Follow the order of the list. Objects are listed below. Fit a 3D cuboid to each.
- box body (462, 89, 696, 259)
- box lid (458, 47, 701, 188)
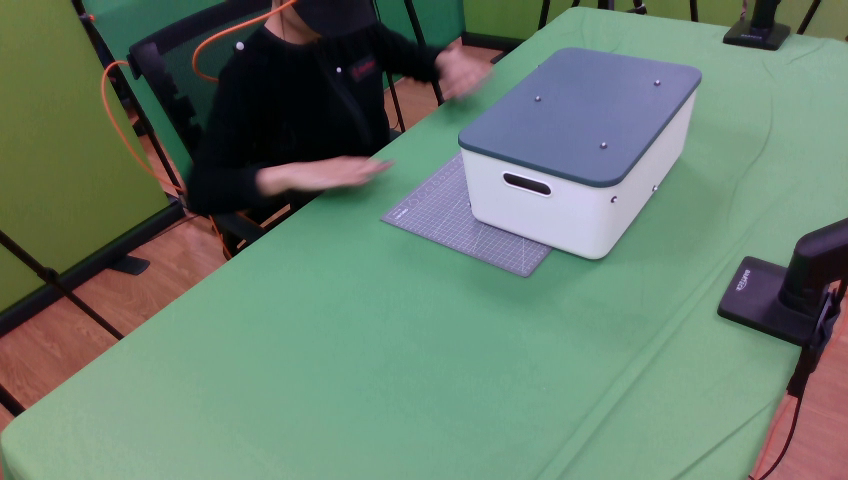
[{"bbox_3d":[0.261,-0.153,1.001,0.252,0.161,0.365,21,48,31],"label":"box body"},{"bbox_3d":[0.253,-0.211,0.954,0.261,0.015,0.372,22,49,30],"label":"box lid"}]
